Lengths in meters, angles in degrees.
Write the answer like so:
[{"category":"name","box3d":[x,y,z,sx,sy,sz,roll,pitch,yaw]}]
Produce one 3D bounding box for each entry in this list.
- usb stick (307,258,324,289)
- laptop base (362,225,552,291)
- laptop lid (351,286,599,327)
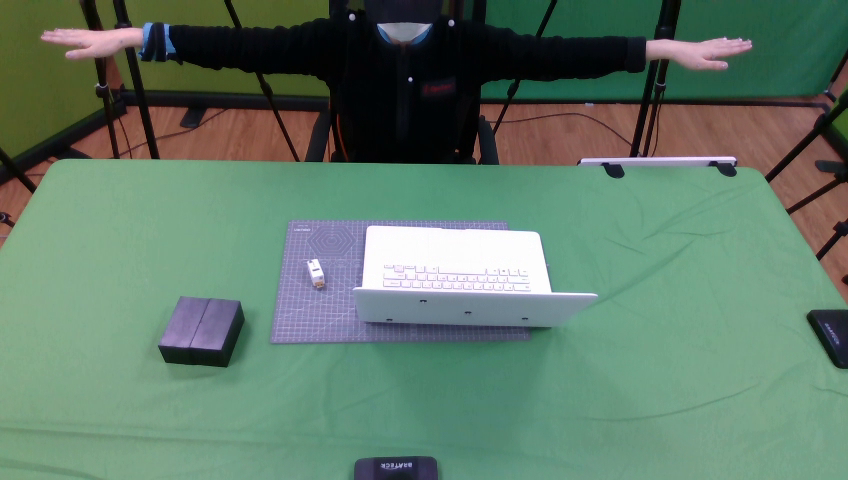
[{"category":"usb stick","box3d":[-0.198,0.064,1.114,0.021,0.027,0.059,-13,51,-18]},{"category":"laptop base","box3d":[0.061,0.063,1.145,0.354,0.023,0.234,2,43,-3]},{"category":"laptop lid","box3d":[0.068,0.109,0.952,0.357,0.242,0.013,2,71,-4]}]
